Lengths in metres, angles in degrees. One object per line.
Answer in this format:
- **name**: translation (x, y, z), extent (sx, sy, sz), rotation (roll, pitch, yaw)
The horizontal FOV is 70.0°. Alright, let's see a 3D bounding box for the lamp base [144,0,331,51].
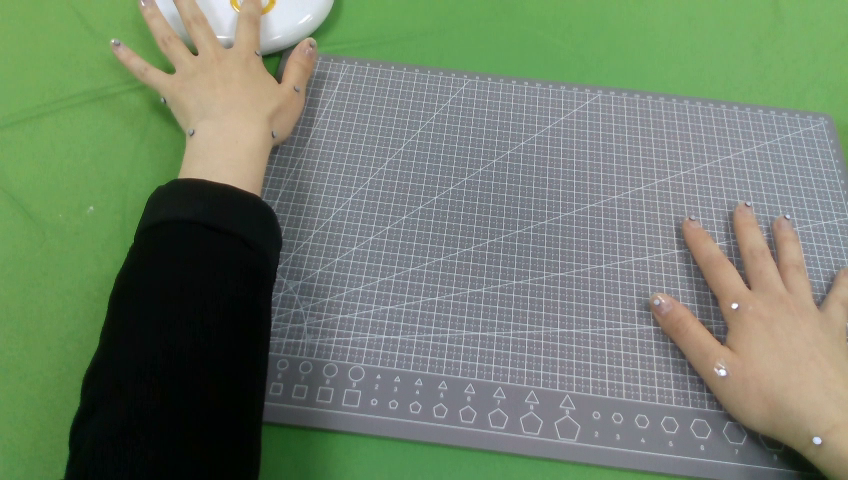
- **lamp base**: translation (-0.162, -0.269, 0.459), extent (0.160, 0.182, 0.177), rotation (-30, 63, -19)
